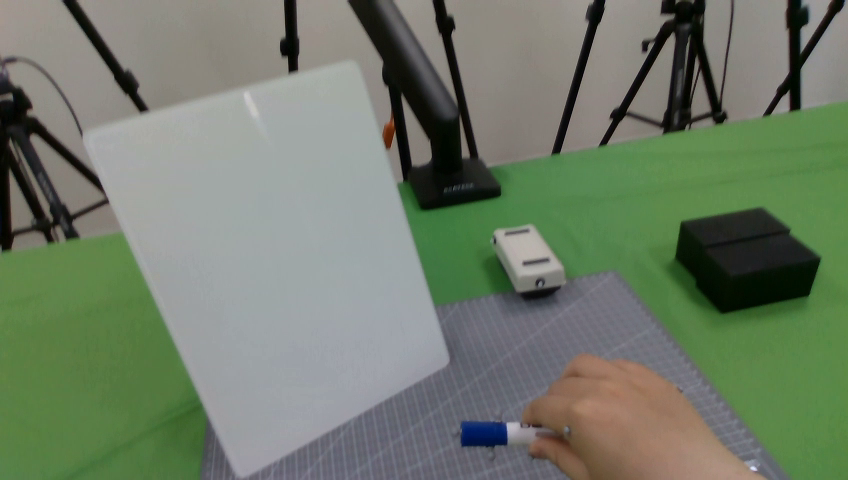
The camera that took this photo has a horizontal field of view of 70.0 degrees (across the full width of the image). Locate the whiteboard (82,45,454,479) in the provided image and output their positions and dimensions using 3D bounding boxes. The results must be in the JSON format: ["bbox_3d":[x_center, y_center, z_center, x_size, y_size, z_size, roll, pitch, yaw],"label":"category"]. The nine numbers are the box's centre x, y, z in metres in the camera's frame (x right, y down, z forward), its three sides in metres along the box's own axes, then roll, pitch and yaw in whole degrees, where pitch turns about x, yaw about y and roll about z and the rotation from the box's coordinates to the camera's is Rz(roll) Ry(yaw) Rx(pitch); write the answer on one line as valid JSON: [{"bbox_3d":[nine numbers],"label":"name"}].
[{"bbox_3d":[-0.133,0.009,0.555,0.217,0.307,0.143,-24,19,-24],"label":"whiteboard"}]

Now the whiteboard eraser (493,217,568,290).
[{"bbox_3d":[0.119,0.015,0.691,0.055,0.042,0.111,-11,31,-4],"label":"whiteboard eraser"}]

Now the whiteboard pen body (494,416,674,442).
[{"bbox_3d":[0.100,0.129,0.416,0.141,0.017,0.017,0,34,2],"label":"whiteboard pen body"}]

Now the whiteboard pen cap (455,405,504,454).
[{"bbox_3d":[0.037,0.129,0.412,0.033,0.018,0.018,-41,43,-11],"label":"whiteboard pen cap"}]
